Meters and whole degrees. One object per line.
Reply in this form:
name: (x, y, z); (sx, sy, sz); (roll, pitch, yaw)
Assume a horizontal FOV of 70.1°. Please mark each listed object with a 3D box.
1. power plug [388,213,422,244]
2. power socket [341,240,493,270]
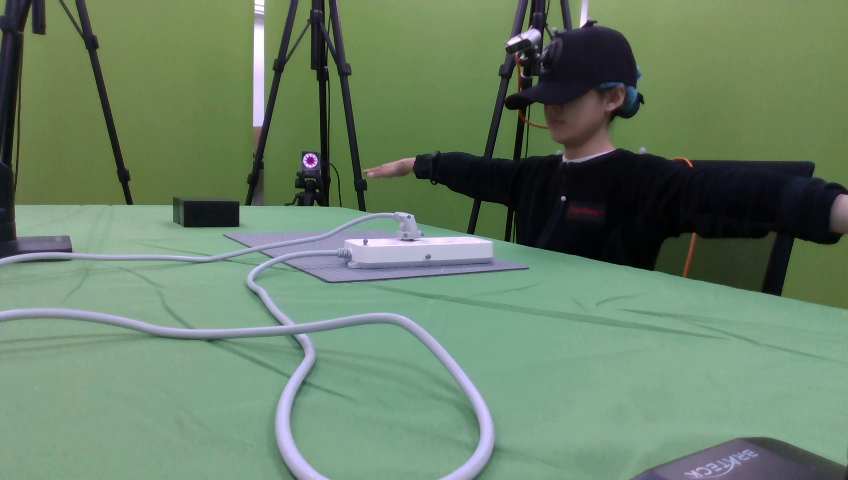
power plug: (-0.027, -0.010, 0.848); (0.035, 0.052, 0.072); (2, 9, -18)
power socket: (-0.006, 0.018, 0.831); (0.228, 0.032, 0.072); (-1, 6, -29)
